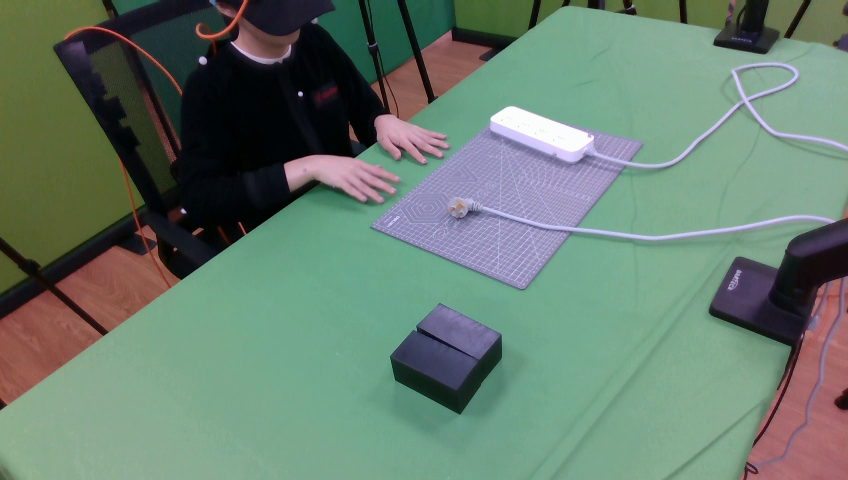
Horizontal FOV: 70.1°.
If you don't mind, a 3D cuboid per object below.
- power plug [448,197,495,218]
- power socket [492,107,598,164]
[{"bbox_3d":[0.076,-0.055,1.010,0.072,0.035,0.053,0,23,27],"label":"power plug"},{"bbox_3d":[0.227,-0.205,1.170,0.072,0.033,0.225,-36,48,-28],"label":"power socket"}]
